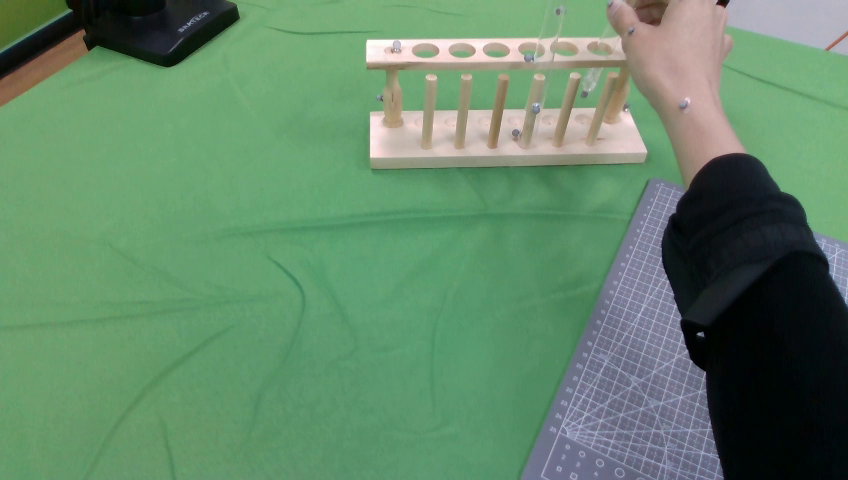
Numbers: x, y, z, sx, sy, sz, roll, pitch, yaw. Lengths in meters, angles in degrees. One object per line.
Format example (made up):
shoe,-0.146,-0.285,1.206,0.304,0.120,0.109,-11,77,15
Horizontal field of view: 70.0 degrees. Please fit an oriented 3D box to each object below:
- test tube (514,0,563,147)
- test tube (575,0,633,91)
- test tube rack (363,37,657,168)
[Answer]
test tube,0.089,-0.135,0.478,0.017,0.152,0.017,2,49,-2
test tube,0.151,-0.176,0.480,0.017,0.151,0.017,4,57,-6
test tube rack,0.071,-0.118,0.522,0.242,0.086,0.066,-2,49,-4
